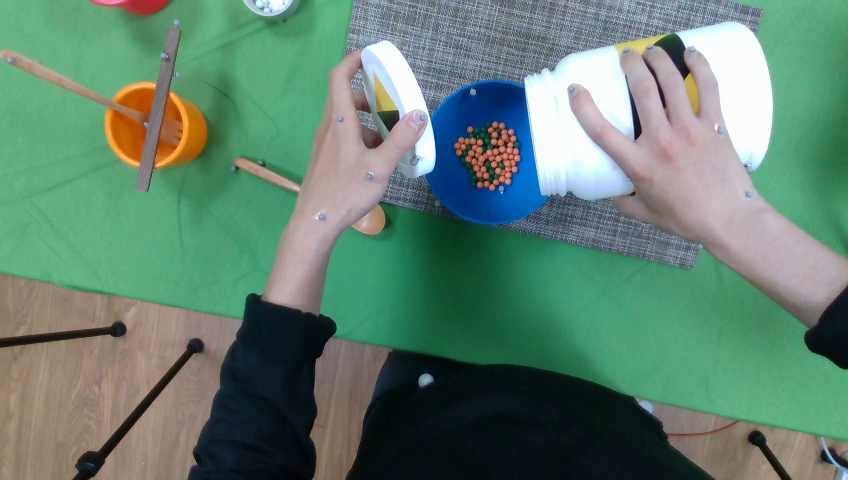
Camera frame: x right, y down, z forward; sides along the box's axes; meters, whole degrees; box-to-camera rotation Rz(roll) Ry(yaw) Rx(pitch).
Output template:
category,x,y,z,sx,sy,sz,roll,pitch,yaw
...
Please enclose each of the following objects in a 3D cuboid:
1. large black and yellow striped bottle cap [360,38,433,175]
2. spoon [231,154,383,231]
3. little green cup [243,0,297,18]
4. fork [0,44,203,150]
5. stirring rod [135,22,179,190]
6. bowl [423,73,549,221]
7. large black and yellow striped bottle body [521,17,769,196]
category,x,y,z,sx,sy,sz,roll,pitch,yaw
large black and yellow striped bottle cap,-0.025,-0.111,0.514,0.019,0.114,0.115,-22,96,-15
spoon,-0.137,-0.061,0.706,0.194,0.021,0.042,23,111,-2
little green cup,-0.170,-0.278,0.672,0.061,0.038,0.061,0,97,3
fork,-0.331,-0.147,0.637,0.209,0.018,0.028,25,102,-45
stirring rod,-0.280,-0.139,0.634,0.014,0.006,0.176,14,97,-2
bowl,0.071,-0.098,0.665,0.151,0.076,0.151,0,97,2
large black and yellow striped bottle body,0.184,-0.110,0.534,0.184,0.130,0.131,-9,96,10
